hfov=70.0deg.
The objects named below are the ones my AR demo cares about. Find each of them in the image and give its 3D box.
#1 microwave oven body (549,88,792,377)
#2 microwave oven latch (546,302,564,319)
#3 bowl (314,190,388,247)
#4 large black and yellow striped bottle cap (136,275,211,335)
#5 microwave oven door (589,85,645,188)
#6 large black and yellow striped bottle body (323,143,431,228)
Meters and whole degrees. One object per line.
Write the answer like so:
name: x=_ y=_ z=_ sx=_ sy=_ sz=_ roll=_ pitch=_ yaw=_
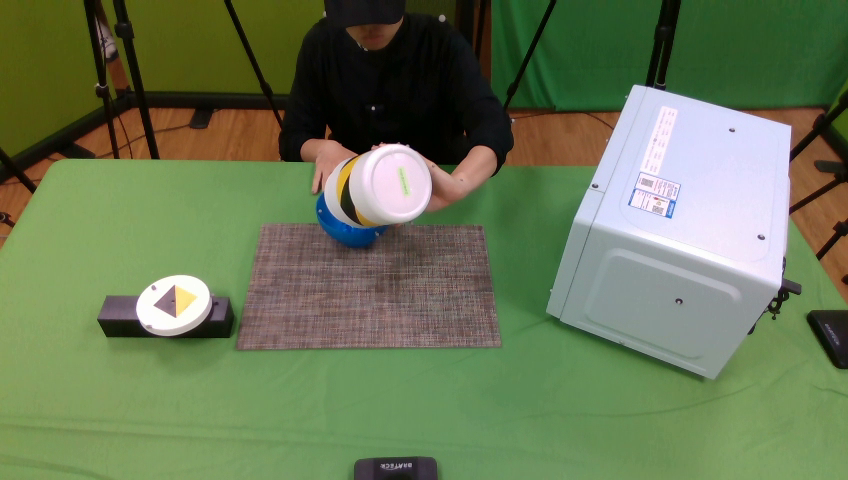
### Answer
microwave oven body: x=0.456 y=-0.028 z=1.088 sx=0.325 sy=0.261 sz=0.440 roll=20 pitch=47 yaw=16
microwave oven latch: x=0.242 y=0.102 z=1.081 sx=0.030 sy=0.029 sz=0.079 roll=21 pitch=48 yaw=17
bowl: x=-0.136 y=-0.040 z=1.180 sx=0.151 sy=0.077 sz=0.150 roll=2 pitch=46 yaw=-2
large black and yellow striped bottle cap: x=-0.412 y=0.105 z=0.999 sx=0.115 sy=0.019 sz=0.114 roll=3 pitch=46 yaw=-3
microwave oven door: x=0.341 y=-0.107 z=1.149 sx=0.039 sy=0.245 sz=0.354 roll=20 pitch=48 yaw=15
large black and yellow striped bottle body: x=-0.088 y=-0.088 z=1.044 sx=0.131 sy=0.131 sz=0.183 roll=-32 pitch=15 yaw=-30
